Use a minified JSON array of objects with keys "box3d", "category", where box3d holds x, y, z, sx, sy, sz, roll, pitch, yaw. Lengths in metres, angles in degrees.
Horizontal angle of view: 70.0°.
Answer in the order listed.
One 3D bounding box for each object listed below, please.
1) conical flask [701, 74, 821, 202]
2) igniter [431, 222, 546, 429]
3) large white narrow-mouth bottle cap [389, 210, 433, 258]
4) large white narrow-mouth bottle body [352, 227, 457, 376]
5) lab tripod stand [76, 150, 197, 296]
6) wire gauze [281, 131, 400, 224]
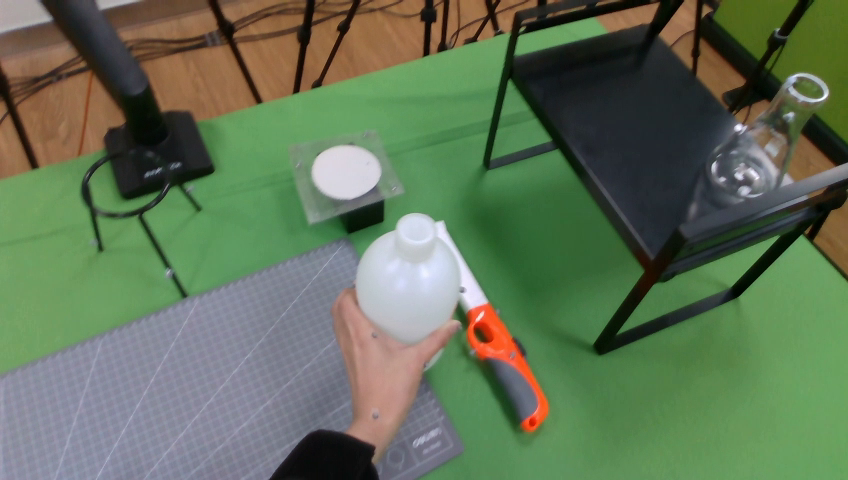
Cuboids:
[{"box3d":[0.325,-0.099,0.578,0.075,0.123,0.074,2,56,-3],"category":"conical flask"},{"box3d":[0.062,0.089,0.704,0.057,0.025,0.274,-15,59,-26],"category":"igniter"},{"box3d":[-0.012,-0.005,0.514,0.038,0.024,0.037,4,53,-4],"category":"large white narrow-mouth bottle cap"},{"box3d":[-0.020,0.048,0.582,0.102,0.196,0.101,3,53,-4],"category":"large white narrow-mouth bottle body"},{"box3d":[-0.315,-0.022,0.682,0.148,0.132,0.147,3,56,-5],"category":"lab tripod stand"},{"box3d":[-0.106,-0.084,0.757,0.122,0.011,0.124,-16,59,-15],"category":"wire gauze"}]
